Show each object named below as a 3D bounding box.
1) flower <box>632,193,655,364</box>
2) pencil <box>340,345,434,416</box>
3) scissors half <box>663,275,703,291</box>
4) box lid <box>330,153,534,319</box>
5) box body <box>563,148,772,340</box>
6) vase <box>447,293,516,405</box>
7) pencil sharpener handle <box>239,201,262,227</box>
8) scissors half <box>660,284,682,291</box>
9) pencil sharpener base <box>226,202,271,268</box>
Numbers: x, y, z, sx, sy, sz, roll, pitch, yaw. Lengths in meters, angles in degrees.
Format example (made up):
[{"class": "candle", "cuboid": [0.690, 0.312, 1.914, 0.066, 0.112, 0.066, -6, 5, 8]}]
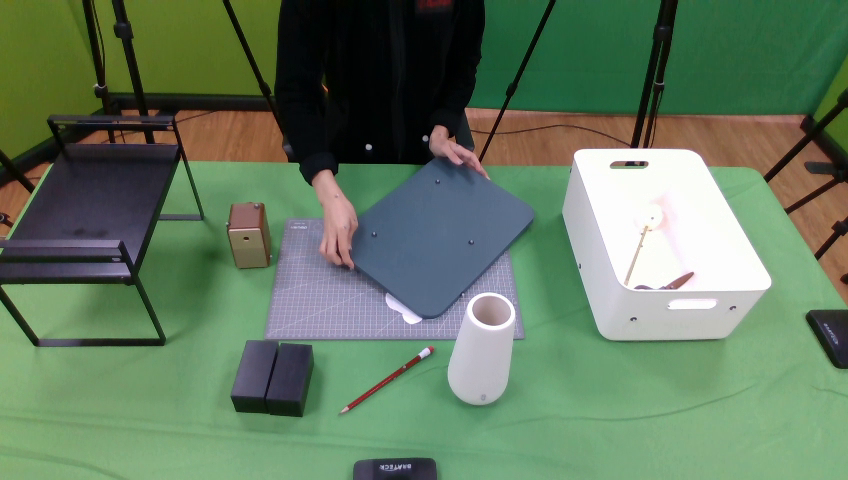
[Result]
[{"class": "flower", "cuboid": [0.422, 0.068, 1.187, 0.038, 0.044, 0.360, 21, 65, -17]}, {"class": "pencil", "cuboid": [-0.058, 0.228, 0.984, 0.194, 0.012, 0.012, -32, 56, -28]}, {"class": "scissors half", "cuboid": [0.460, 0.092, 1.131, 0.175, 0.040, 0.013, -18, 87, -26]}, {"class": "box lid", "cuboid": [0.024, -0.024, 1.199, 0.262, 0.015, 0.371, 35, 54, 19]}, {"class": "box body", "cuboid": [0.421, 0.003, 1.130, 0.254, 0.161, 0.361, 0, 46, -5]}, {"class": "vase", "cuboid": [0.091, 0.169, 0.921, 0.098, 0.201, 0.097, 3, 47, -3]}, {"class": "pencil sharpener handle", "cuboid": [-0.325, -0.055, 1.149, 0.036, 0.068, 0.030, -13, 46, 4]}, {"class": "scissors half", "cuboid": [0.453, 0.095, 1.144, 0.175, 0.040, 0.013, -16, 93, -32]}, {"class": "pencil sharpener base", "cuboid": [-0.323, -0.010, 1.123, 0.061, 0.107, 0.076, -3, 46, -6]}]
